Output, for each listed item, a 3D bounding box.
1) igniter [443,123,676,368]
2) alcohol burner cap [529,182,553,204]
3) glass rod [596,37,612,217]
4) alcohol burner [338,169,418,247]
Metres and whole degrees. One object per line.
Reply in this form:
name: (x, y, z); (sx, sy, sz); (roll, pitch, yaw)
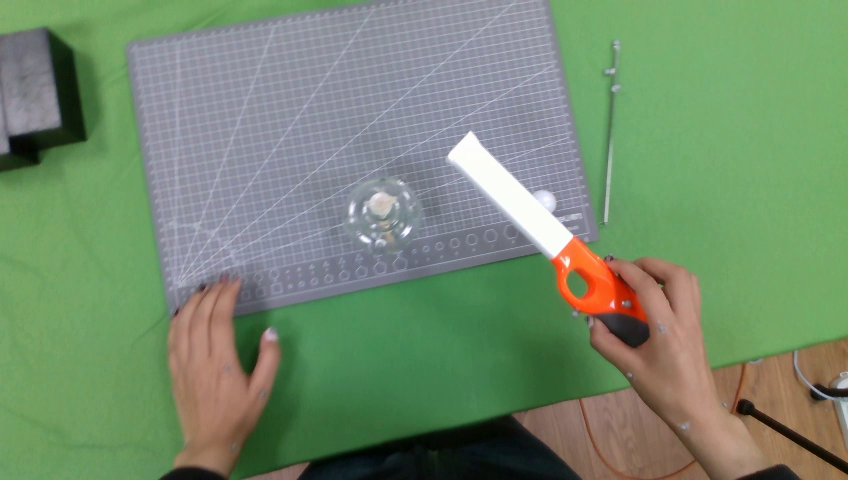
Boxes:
igniter: (0.124, 0.008, 0.527); (0.277, 0.025, 0.057); (44, 80, -7)
alcohol burner cap: (0.116, -0.043, 0.625); (0.034, 0.048, 0.034); (0, 84, -3)
glass rod: (0.195, -0.124, 0.657); (0.008, 0.008, 0.199); (5, 85, -4)
alcohol burner: (-0.044, -0.033, 0.578); (0.078, 0.119, 0.077); (0, 83, -4)
